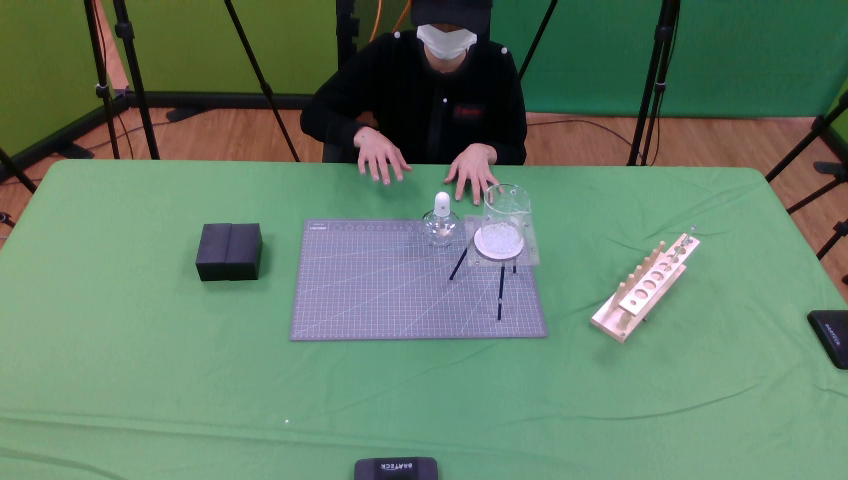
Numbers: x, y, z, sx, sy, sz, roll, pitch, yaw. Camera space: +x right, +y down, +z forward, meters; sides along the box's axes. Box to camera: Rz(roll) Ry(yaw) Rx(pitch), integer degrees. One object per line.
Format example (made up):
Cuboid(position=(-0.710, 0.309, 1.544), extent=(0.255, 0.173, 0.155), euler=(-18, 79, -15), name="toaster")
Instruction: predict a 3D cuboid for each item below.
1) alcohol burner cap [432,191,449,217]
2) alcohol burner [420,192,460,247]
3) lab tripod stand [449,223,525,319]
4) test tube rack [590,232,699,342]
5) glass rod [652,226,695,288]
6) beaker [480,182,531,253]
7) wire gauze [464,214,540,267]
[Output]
Cuboid(position=(0.033, -0.070, 1.150), extent=(0.034, 0.048, 0.033), euler=(1, 44, -1), name="alcohol burner cap")
Cuboid(position=(0.032, -0.045, 1.176), extent=(0.078, 0.120, 0.077), euler=(1, 44, -1), name="alcohol burner")
Cuboid(position=(0.120, 0.046, 1.080), extent=(0.148, 0.132, 0.147), euler=(1, 47, -1), name="lab tripod stand")
Cuboid(position=(0.407, 0.074, 1.112), extent=(0.066, 0.085, 0.242), euler=(35, 53, 26), name="test tube rack")
Cuboid(position=(0.432, 0.037, 1.057), extent=(0.008, 0.200, 0.008), euler=(1, 54, -1), name="glass rod")
Cuboid(position=(0.133, -0.033, 0.998), extent=(0.083, 0.101, 0.074), euler=(26, 51, 22), name="beaker")
Cuboid(position=(0.131, -0.001, 1.035), extent=(0.121, 0.011, 0.124), euler=(1, 44, -3), name="wire gauze")
